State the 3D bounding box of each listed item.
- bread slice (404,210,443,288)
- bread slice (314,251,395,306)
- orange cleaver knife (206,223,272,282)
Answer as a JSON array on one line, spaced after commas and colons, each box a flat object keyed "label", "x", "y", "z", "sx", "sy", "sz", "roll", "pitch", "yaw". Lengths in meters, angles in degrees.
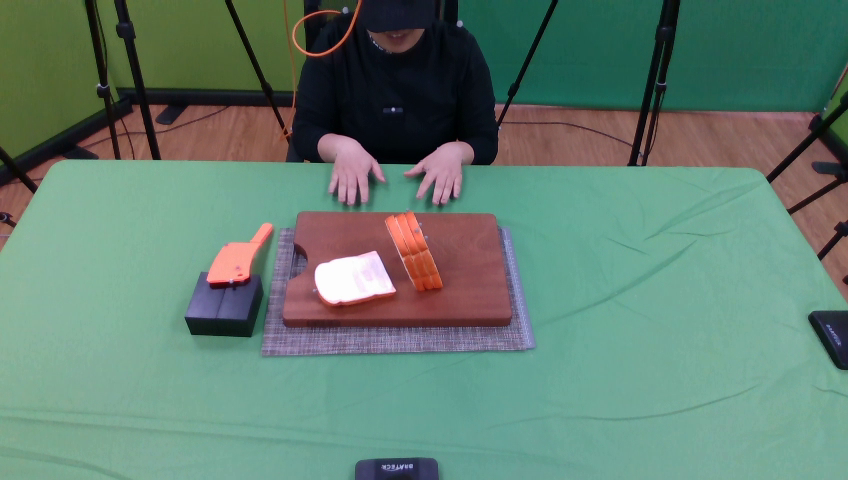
[{"label": "bread slice", "x": -0.003, "y": 0.013, "z": 1.073, "sx": 0.018, "sy": 0.135, "sz": 0.106, "roll": -23, "pitch": 50, "yaw": -2}, {"label": "bread slice", "x": -0.130, "y": 0.071, "z": 1.077, "sx": 0.132, "sy": 0.019, "sz": 0.104, "roll": -11, "pitch": 49, "yaw": -20}, {"label": "orange cleaver knife", "x": -0.337, "y": 0.020, "z": 1.122, "sx": 0.077, "sy": 0.012, "sz": 0.210, "roll": 3, "pitch": 29, "yaw": 3}]
